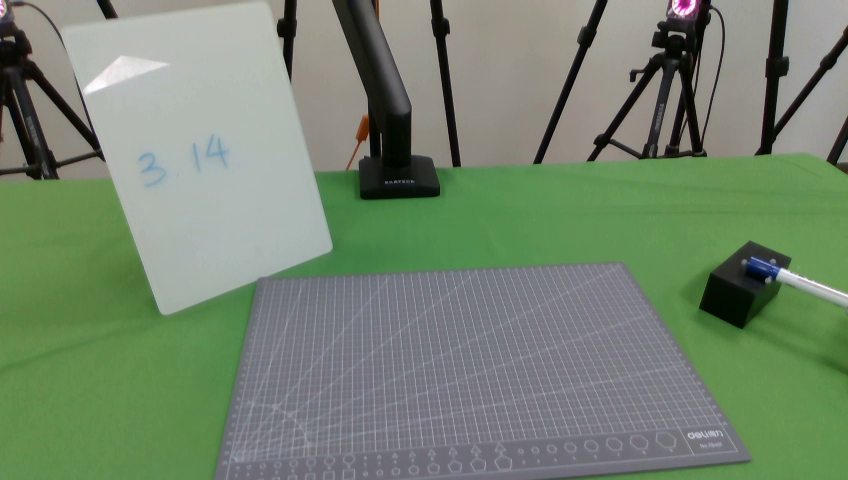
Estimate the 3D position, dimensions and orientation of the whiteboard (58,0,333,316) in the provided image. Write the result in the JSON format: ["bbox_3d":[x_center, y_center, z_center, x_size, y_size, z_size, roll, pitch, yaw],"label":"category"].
[{"bbox_3d":[-0.268,-0.104,0.721,0.217,0.307,0.142,-23,21,-32],"label":"whiteboard"}]

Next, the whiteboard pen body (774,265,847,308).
[{"bbox_3d":[0.410,0.050,0.626,0.139,0.017,0.017,28,41,34],"label":"whiteboard pen body"}]

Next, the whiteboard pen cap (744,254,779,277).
[{"bbox_3d":[0.368,0.029,0.659,0.033,0.018,0.018,29,42,32],"label":"whiteboard pen cap"}]
